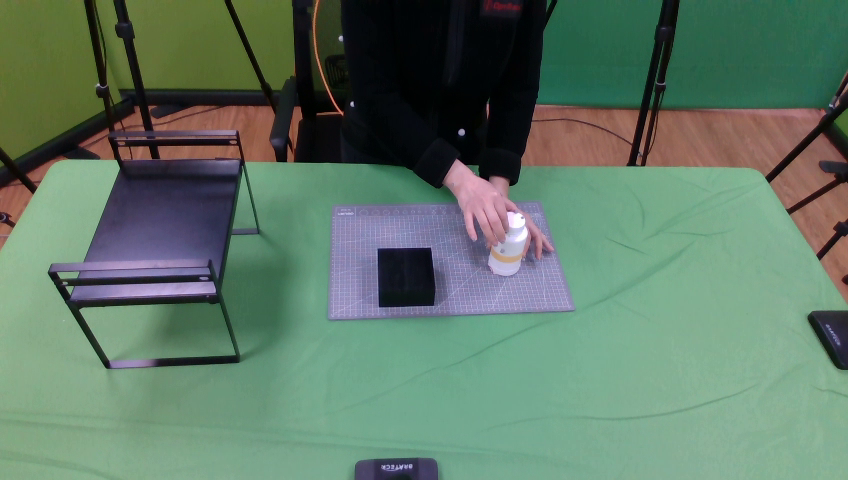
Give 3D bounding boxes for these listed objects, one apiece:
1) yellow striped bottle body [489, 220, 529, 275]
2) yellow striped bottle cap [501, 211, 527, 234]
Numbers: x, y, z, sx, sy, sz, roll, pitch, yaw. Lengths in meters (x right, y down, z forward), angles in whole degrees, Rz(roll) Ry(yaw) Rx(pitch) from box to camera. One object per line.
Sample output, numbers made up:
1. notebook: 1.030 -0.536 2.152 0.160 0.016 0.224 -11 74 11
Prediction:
1. yellow striped bottle body: 0.159 0.005 1.130 0.063 0.121 0.062 2 46 -2
2. yellow striped bottle cap: 0.162 -0.033 1.090 0.044 0.019 0.044 2 44 -1
